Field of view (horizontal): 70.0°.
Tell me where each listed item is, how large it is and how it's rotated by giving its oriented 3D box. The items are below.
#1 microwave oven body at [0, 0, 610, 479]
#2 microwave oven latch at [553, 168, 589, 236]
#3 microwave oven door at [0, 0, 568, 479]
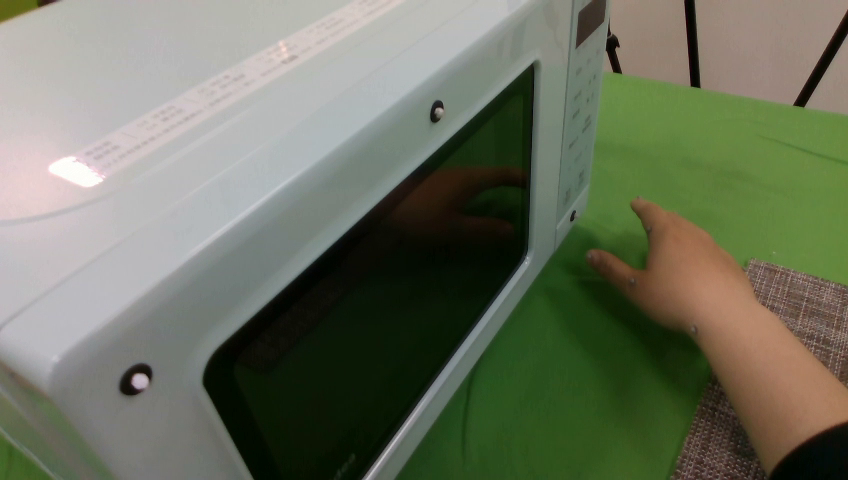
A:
[{"bbox_3d":[-0.106,-0.051,0.443,0.323,0.263,0.440,21,49,26],"label":"microwave oven body"},{"bbox_3d":[0.122,-0.037,0.547,0.030,0.030,0.079,22,49,27],"label":"microwave oven latch"},{"bbox_3d":[-0.008,0.014,0.349,0.039,0.246,0.355,20,48,27],"label":"microwave oven door"}]
